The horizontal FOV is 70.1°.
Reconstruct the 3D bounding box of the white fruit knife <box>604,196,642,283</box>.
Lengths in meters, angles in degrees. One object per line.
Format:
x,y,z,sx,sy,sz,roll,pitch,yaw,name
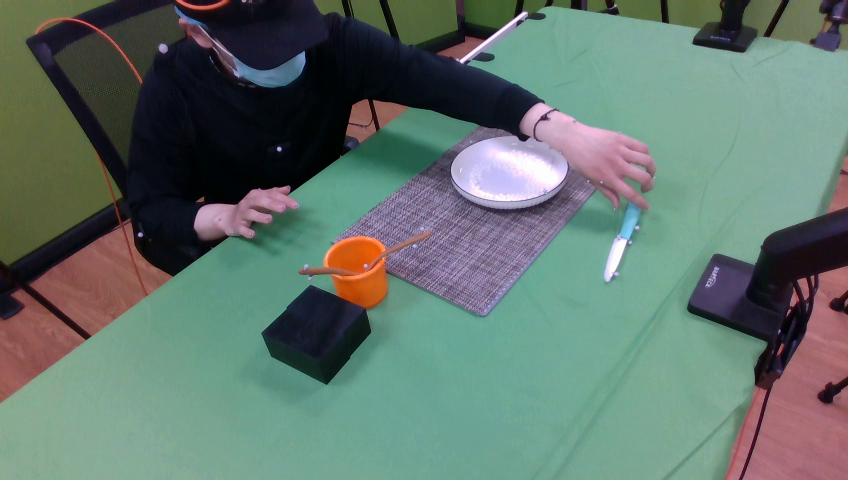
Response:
0.310,-0.004,0.938,0.027,0.016,0.207,-13,32,41,white fruit knife

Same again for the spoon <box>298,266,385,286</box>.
-0.112,0.047,0.826,0.041,0.195,0.021,-24,71,23,spoon

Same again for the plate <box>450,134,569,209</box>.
0.150,-0.117,1.066,0.209,0.038,0.208,-4,41,4,plate

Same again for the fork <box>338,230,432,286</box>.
-0.058,0.028,0.846,0.018,0.206,0.028,53,43,-3,fork
